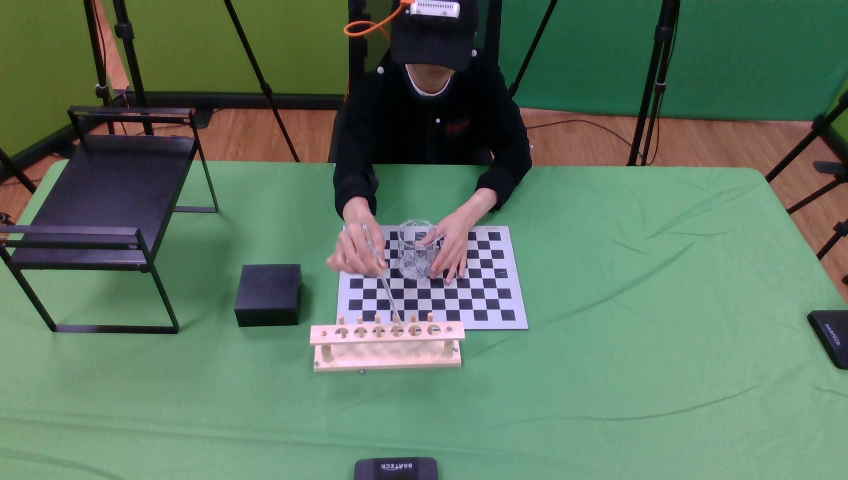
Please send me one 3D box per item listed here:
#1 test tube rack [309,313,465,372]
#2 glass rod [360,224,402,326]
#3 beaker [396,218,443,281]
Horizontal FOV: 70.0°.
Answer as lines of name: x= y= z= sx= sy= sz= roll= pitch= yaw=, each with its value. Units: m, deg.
test tube rack: x=-0.059 y=0.161 z=0.990 sx=0.242 sy=0.085 sz=0.066 roll=-1 pitch=46 yaw=-5
glass rod: x=-0.061 y=0.056 z=0.886 sx=0.008 sy=0.201 sz=0.008 roll=-11 pitch=36 yaw=8
beaker: x=-0.010 y=0.020 z=1.115 sx=0.084 sy=0.101 sz=0.073 roll=2 pitch=46 yaw=-3
